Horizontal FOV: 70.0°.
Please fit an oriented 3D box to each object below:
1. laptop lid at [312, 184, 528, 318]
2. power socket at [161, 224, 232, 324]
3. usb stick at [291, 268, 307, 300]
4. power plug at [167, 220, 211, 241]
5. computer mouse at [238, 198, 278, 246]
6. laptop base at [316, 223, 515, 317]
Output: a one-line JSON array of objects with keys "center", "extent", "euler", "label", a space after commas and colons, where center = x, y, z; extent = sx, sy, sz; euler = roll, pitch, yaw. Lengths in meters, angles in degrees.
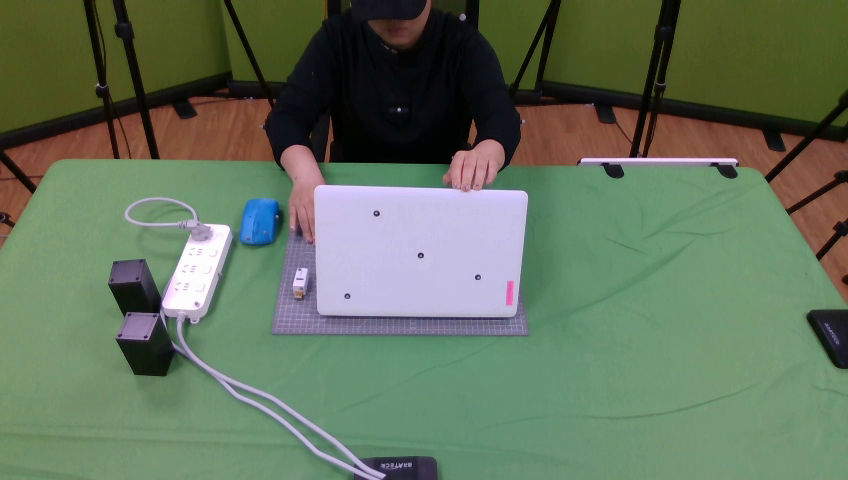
[{"center": [-0.008, 0.024, 1.018], "extent": [0.357, 0.242, 0.013], "euler": [3, 19, -4], "label": "laptop lid"}, {"center": [-0.412, 0.052, 1.107], "extent": [0.072, 0.033, 0.225], "euler": [4, 46, -2], "label": "power socket"}, {"center": [-0.227, 0.081, 1.094], "extent": [0.021, 0.027, 0.059], "euler": [4, 49, -3], "label": "usb stick"}, {"center": [-0.438, -0.017, 1.143], "extent": [0.072, 0.053, 0.035], "euler": [10, 43, 7], "label": "power plug"}, {"center": [-0.328, -0.039, 1.200], "extent": [0.063, 0.041, 0.116], "euler": [3, 50, -4], "label": "computer mouse"}, {"center": [-0.016, 0.054, 1.145], "extent": [0.354, 0.023, 0.234], "euler": [1, 43, -3], "label": "laptop base"}]
